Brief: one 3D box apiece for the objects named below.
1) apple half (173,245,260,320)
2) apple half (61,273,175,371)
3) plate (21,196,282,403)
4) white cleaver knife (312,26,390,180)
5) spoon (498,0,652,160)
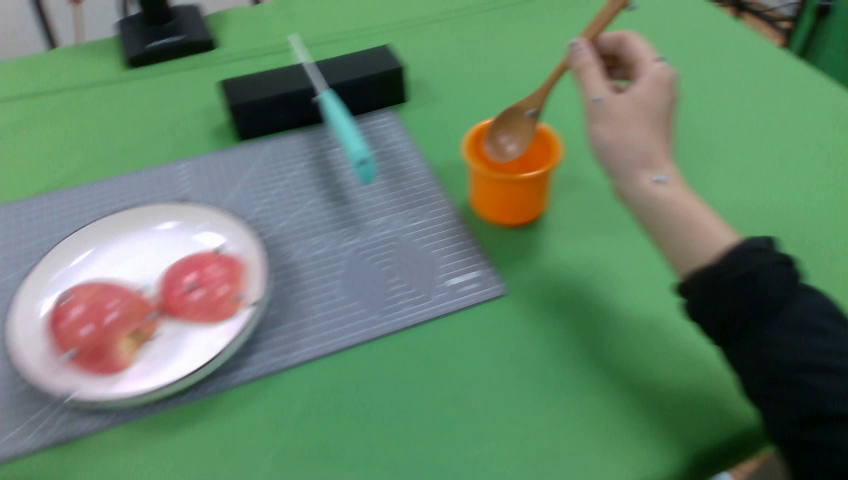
[{"bbox_3d":[-0.182,0.030,0.523,0.081,0.033,0.080,0,52,0],"label":"apple half"},{"bbox_3d":[-0.252,0.058,0.489,0.074,0.054,0.080,18,52,20],"label":"apple half"},{"bbox_3d":[-0.224,0.047,0.519,0.209,0.038,0.207,0,49,1],"label":"plate"},{"bbox_3d":[-0.084,-0.153,0.669,0.021,0.066,0.283,-19,47,-8],"label":"white cleaver knife"},{"bbox_3d":[0.121,-0.133,0.468,0.022,0.194,0.041,-21,69,-45],"label":"spoon"}]
